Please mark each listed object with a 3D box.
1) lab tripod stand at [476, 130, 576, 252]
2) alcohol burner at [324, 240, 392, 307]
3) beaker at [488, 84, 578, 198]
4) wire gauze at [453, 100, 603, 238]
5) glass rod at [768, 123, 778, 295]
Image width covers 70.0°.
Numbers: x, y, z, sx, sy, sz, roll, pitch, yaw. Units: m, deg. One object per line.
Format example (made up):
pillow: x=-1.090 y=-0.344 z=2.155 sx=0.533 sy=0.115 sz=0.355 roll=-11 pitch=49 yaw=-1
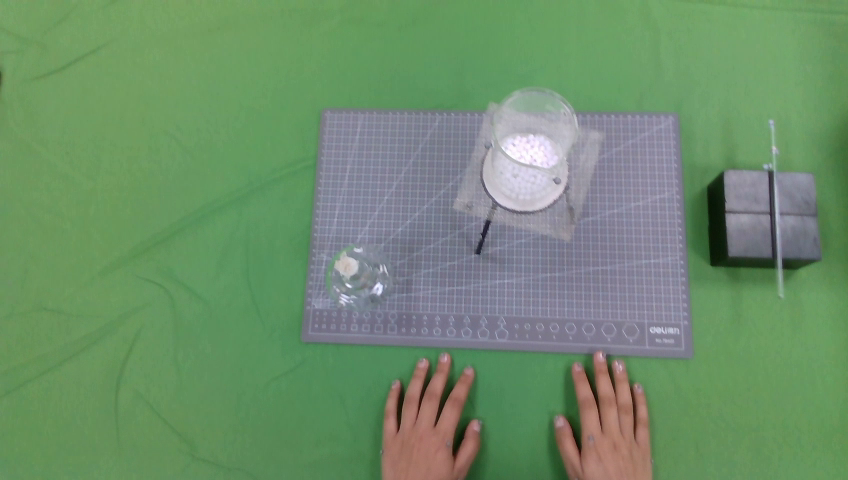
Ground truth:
lab tripod stand: x=0.104 y=-0.058 z=0.673 sx=0.148 sy=0.132 sz=0.147 roll=-1 pitch=76 yaw=5
alcohol burner: x=-0.076 y=0.034 z=0.671 sx=0.078 sy=0.119 sz=0.077 roll=-1 pitch=78 yaw=3
beaker: x=0.099 y=-0.083 z=0.562 sx=0.074 sy=0.101 sz=0.083 roll=-25 pitch=76 yaw=-2
wire gauze: x=0.105 y=-0.073 z=0.609 sx=0.121 sy=0.011 sz=0.124 roll=19 pitch=76 yaw=7
glass rod: x=0.386 y=-0.037 z=0.670 sx=0.008 sy=0.008 sz=0.199 roll=5 pitch=77 yaw=5
